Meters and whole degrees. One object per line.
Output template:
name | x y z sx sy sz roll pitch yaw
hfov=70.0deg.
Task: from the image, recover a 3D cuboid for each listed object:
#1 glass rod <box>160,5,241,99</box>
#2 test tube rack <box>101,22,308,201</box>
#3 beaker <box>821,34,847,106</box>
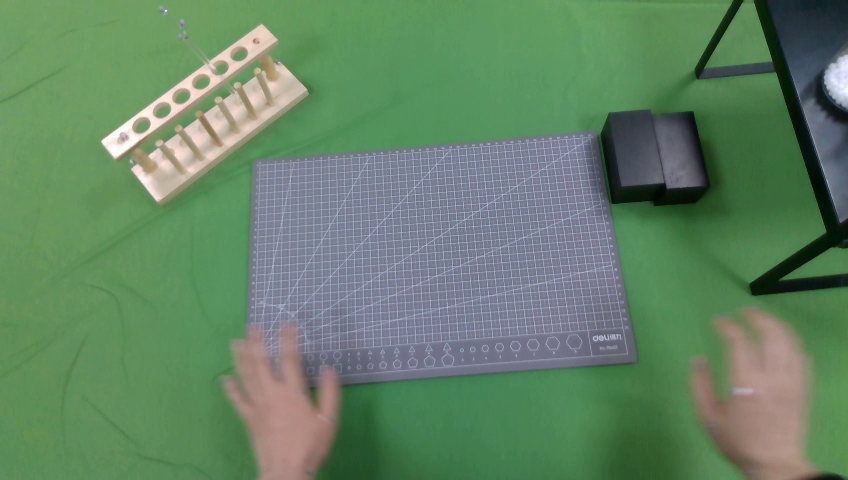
glass rod | -0.259 -0.217 0.722 0.008 0.201 0.008 -1 76 6
test tube rack | -0.272 -0.163 0.774 0.242 0.086 0.066 -41 73 -10
beaker | 0.412 -0.170 0.540 0.084 0.101 0.073 -18 70 -2
